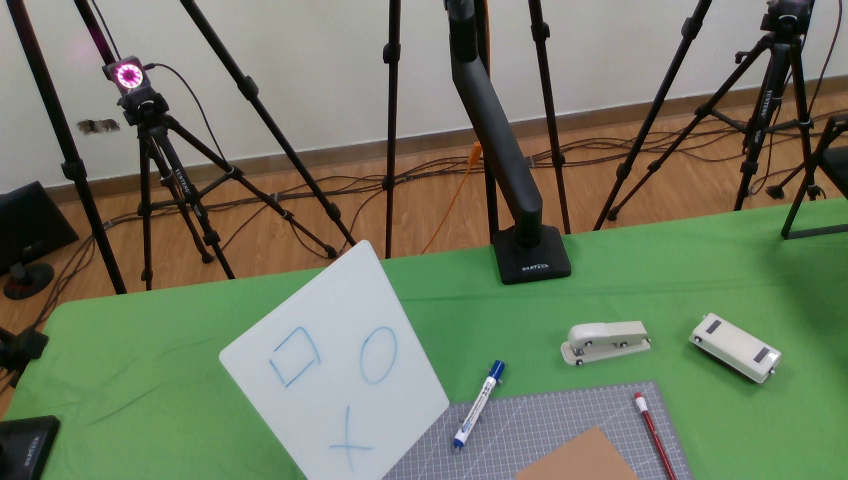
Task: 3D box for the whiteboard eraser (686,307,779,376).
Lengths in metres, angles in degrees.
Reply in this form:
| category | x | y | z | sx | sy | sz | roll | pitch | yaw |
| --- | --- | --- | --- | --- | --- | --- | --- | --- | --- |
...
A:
| category | x | y | z | sx | sy | sz | roll | pitch | yaw |
| --- | --- | --- | --- | --- | --- | --- | --- | --- | --- |
| whiteboard eraser | 0.445 | 0.147 | 0.876 | 0.055 | 0.042 | 0.111 | -38 | 53 | -24 |

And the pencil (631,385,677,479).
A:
| category | x | y | z | sx | sy | sz | roll | pitch | yaw |
| --- | --- | --- | --- | --- | --- | --- | --- | --- | --- |
| pencil | 0.310 | 0.275 | 0.791 | 0.012 | 0.012 | 0.192 | -10 | 48 | -1 |

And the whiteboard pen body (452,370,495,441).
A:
| category | x | y | z | sx | sy | sz | roll | pitch | yaw |
| --- | --- | --- | --- | --- | --- | --- | --- | --- | --- |
| whiteboard pen body | 0.077 | 0.226 | 0.869 | 0.017 | 0.017 | 0.140 | 18 | 51 | 24 |

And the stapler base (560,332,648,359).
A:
| category | x | y | z | sx | sy | sz | roll | pitch | yaw |
| --- | --- | --- | --- | --- | --- | --- | --- | --- | --- |
| stapler base | 0.272 | 0.146 | 0.916 | 0.131 | 0.024 | 0.041 | -10 | 48 | -4 |

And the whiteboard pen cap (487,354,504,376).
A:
| category | x | y | z | sx | sy | sz | roll | pitch | yaw |
| --- | --- | --- | --- | --- | --- | --- | --- | --- | --- |
| whiteboard pen cap | 0.106 | 0.187 | 0.901 | 0.018 | 0.018 | 0.033 | 16 | 51 | 23 |

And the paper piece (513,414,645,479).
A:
| category | x | y | z | sx | sy | sz | roll | pitch | yaw |
| --- | --- | --- | --- | --- | --- | --- | --- | --- | --- |
| paper piece | 0.206 | 0.311 | 0.774 | 0.136 | 0.009 | 0.136 | -27 | 50 | -11 |

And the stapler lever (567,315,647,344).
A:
| category | x | y | z | sx | sy | sz | roll | pitch | yaw |
| --- | --- | --- | --- | --- | --- | --- | --- | --- | --- |
| stapler lever | 0.271 | 0.129 | 0.899 | 0.118 | 0.040 | 0.026 | -11 | 48 | -3 |

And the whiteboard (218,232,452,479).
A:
| category | x | y | z | sx | sy | sz | roll | pitch | yaw |
| --- | --- | --- | --- | --- | --- | --- | --- | --- | --- |
| whiteboard | -0.130 | 0.161 | 0.804 | 0.217 | 0.308 | 0.142 | -40 | 33 | -26 |
